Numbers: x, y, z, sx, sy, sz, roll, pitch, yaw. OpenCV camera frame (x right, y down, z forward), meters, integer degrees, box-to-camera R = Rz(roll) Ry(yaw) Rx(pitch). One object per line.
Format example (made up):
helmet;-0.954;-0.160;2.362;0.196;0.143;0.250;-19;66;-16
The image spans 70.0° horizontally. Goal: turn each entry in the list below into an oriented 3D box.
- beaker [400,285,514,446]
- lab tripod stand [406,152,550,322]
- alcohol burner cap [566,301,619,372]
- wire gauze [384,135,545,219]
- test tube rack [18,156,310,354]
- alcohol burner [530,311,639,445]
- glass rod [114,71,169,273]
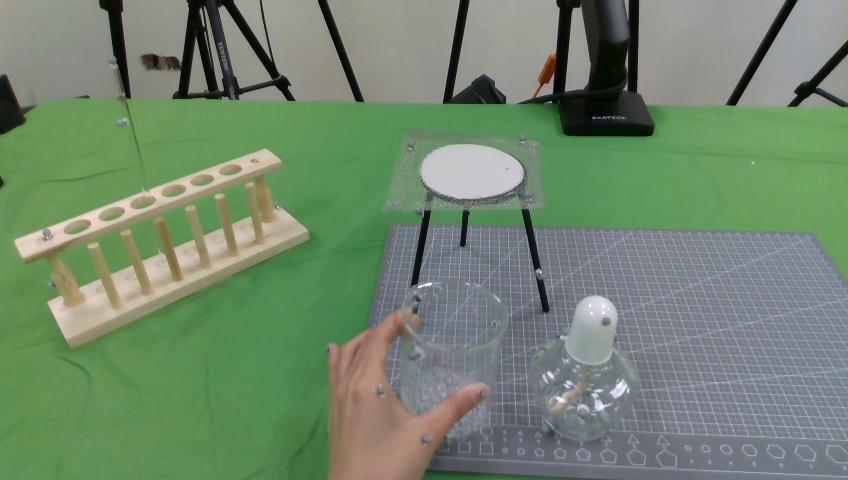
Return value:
beaker;0.017;0.092;0.442;0.074;0.101;0.083;-23;43;-33
lab tripod stand;0.047;-0.001;0.540;0.148;0.132;0.147;0;36;0
alcohol burner cap;0.116;0.062;0.409;0.034;0.048;0.033;1;39;0
wire gauze;0.037;-0.053;0.498;0.121;0.011;0.124;4;38;6
test tube rack;-0.238;0.006;0.589;0.242;0.086;0.066;-27;43;-30
alcohol burner;0.116;0.091;0.431;0.078;0.120;0.077;-1;39;1
glass rod;-0.260;-0.055;0.561;0.008;0.201;0.008;0;30;0
